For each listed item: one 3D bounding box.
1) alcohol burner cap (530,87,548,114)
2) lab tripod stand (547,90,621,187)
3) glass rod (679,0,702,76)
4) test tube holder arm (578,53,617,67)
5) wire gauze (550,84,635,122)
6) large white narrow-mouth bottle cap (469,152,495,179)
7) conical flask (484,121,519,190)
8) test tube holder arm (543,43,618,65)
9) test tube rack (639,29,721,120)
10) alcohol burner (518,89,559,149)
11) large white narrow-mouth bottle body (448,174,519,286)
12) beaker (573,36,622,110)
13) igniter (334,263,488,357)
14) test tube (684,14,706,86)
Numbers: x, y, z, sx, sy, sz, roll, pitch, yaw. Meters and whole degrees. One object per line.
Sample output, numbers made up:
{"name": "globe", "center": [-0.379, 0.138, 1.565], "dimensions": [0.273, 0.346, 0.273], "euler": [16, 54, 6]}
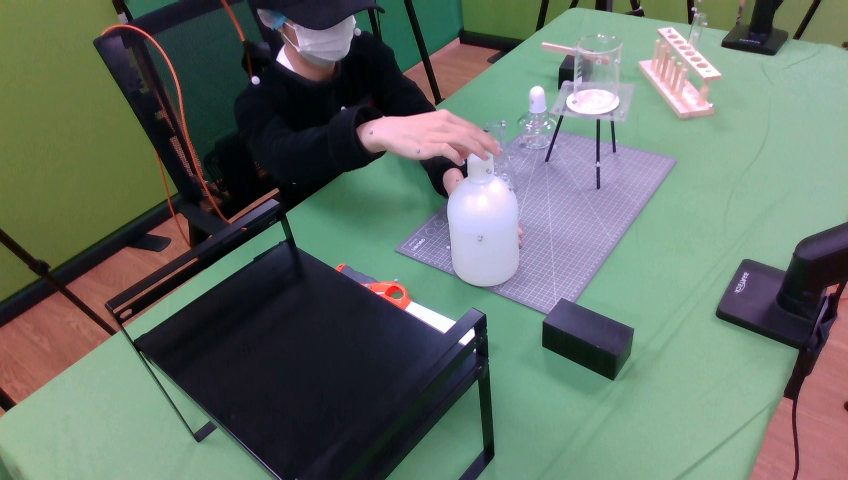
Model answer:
{"name": "alcohol burner cap", "center": [0.212, -0.262, 1.126], "dimensions": [0.034, 0.048, 0.033], "euler": [-8, 36, 7]}
{"name": "lab tripod stand", "center": [0.289, -0.184, 1.062], "dimensions": [0.148, 0.132, 0.147], "euler": [-6, 41, 6]}
{"name": "glass rod", "center": [0.543, -0.417, 1.233], "dimensions": [0.008, 0.200, 0.008], "euler": [1, 39, 0]}
{"name": "test tube holder arm", "center": [0.376, -0.393, 1.314], "dimensions": [0.087, 0.015, 0.010], "euler": [26, 51, 32]}
{"name": "wire gauze", "center": [0.285, -0.234, 1.021], "dimensions": [0.124, 0.011, 0.121], "euler": [8, 41, 23]}
{"name": "large white narrow-mouth bottle cap", "center": [0.078, -0.100, 0.810], "dimensions": [0.038, 0.024, 0.037], "euler": [-4, 40, 4]}
{"name": "conical flask", "center": [0.126, -0.145, 1.051], "dimensions": [0.075, 0.122, 0.075], "euler": [-5, 41, 4]}
{"name": "test tube holder arm", "center": [0.345, -0.413, 1.341], "dimensions": [0.177, 0.015, 0.013], "euler": [25, 50, 32]}
{"name": "test tube rack", "center": [0.527, -0.351, 1.262], "dimensions": [0.067, 0.085, 0.241], "euler": [-8, 40, 1]}
{"name": "alcohol burner", "center": [0.218, -0.235, 1.149], "dimensions": [0.078, 0.119, 0.077], "euler": [-5, 43, 5]}
{"name": "large white narrow-mouth bottle body", "center": [0.086, -0.032, 0.868], "dimensions": [0.102, 0.195, 0.101], "euler": [-4, 40, 4]}
{"name": "beaker", "center": [0.284, -0.273, 0.990], "dimensions": [0.073, 0.101, 0.084], "euler": [16, 46, 28]}
{"name": "igniter", "center": [-0.030, 0.095, 0.872], "dimensions": [0.274, 0.025, 0.057], "euler": [23, 60, 31]}
{"name": "test tube", "center": [0.540, -0.378, 1.215], "dimensions": [0.017, 0.151, 0.017], "euler": [-2, 44, 3]}
